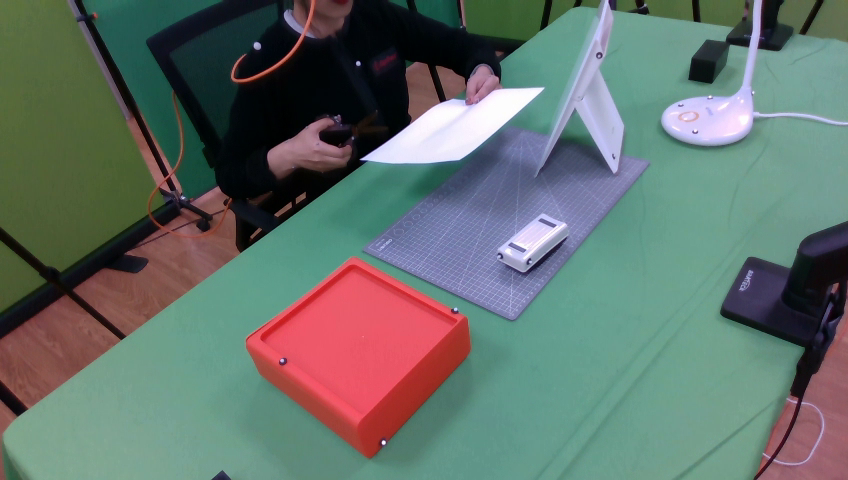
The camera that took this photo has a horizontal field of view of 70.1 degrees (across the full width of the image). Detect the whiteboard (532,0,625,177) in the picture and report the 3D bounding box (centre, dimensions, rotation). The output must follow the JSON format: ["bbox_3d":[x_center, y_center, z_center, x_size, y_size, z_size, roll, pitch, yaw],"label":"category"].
[{"bbox_3d":[0.320,-0.259,1.050,0.144,0.306,0.217,21,45,5],"label":"whiteboard"}]

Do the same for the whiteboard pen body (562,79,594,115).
[{"bbox_3d":[0.328,-0.306,1.277,0.017,0.017,0.141,20,52,30],"label":"whiteboard pen body"}]

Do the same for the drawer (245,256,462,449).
[{"bbox_3d":[-0.089,0.136,0.792,0.210,0.073,0.195,26,51,34],"label":"drawer"}]

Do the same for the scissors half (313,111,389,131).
[{"bbox_3d":[-0.140,-0.222,1.149,0.174,0.040,0.013,11,43,25],"label":"scissors half"}]

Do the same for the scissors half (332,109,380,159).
[{"bbox_3d":[-0.128,-0.203,1.160,0.040,0.174,0.013,39,50,-10],"label":"scissors half"}]

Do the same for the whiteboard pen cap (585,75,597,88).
[{"bbox_3d":[0.362,-0.343,1.310,0.018,0.018,0.033,20,54,30],"label":"whiteboard pen cap"}]

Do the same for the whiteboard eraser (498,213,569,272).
[{"bbox_3d":[0.168,0.006,0.923,0.113,0.042,0.055,-36,48,-28],"label":"whiteboard eraser"}]

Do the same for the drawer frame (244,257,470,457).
[{"bbox_3d":[-0.084,0.138,0.788,0.212,0.083,0.202,25,50,33],"label":"drawer frame"}]

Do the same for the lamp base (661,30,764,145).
[{"bbox_3d":[0.535,-0.287,1.095,0.179,0.181,0.159,-10,40,-4],"label":"lamp base"}]
